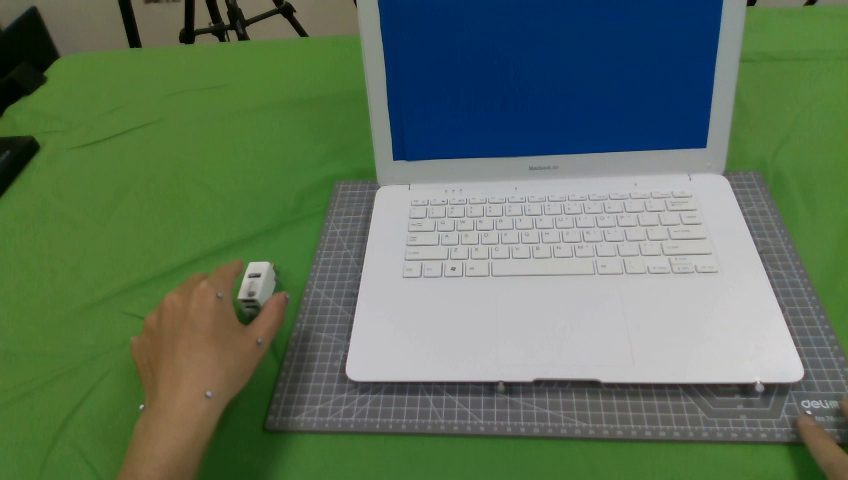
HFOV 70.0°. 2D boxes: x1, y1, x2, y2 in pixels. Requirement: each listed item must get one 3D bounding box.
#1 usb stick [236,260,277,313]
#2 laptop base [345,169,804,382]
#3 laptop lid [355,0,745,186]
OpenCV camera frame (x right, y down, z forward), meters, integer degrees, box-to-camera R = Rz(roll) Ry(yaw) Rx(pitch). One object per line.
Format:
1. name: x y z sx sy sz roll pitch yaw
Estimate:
1. usb stick: -0.155 0.038 0.568 0.021 0.027 0.058 -4 43 10
2. laptop base: 0.117 0.026 0.548 0.354 0.023 0.233 -2 49 6
3. laptop lid: 0.115 -0.165 0.578 0.356 0.243 0.013 -3 25 7
